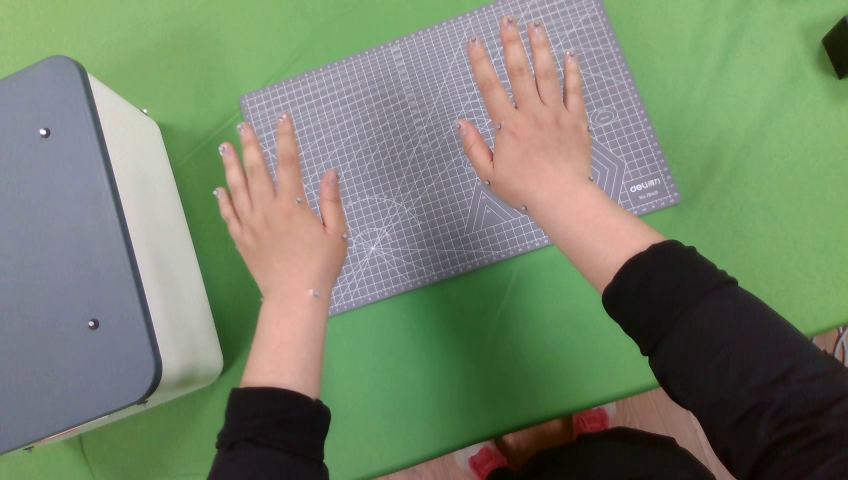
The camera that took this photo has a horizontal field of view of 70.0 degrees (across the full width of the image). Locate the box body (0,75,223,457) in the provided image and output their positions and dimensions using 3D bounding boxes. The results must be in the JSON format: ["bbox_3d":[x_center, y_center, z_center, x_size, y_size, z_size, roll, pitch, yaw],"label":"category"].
[{"bbox_3d":[-0.403,0.031,0.673,0.254,0.161,0.362,-21,78,5],"label":"box body"}]

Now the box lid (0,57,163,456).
[{"bbox_3d":[-0.416,0.016,0.601,0.263,0.015,0.369,-21,79,5],"label":"box lid"}]
